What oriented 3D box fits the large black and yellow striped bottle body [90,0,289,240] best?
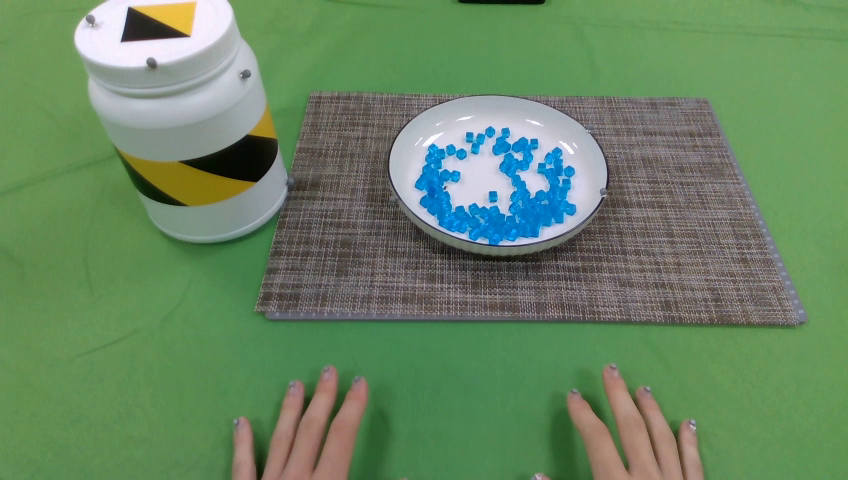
[{"bbox_3d":[-0.196,-0.104,0.519,0.131,0.185,0.129,0,51,0],"label":"large black and yellow striped bottle body"}]

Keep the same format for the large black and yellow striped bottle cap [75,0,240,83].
[{"bbox_3d":[-0.198,-0.158,0.455,0.115,0.019,0.114,1,50,-1],"label":"large black and yellow striped bottle cap"}]

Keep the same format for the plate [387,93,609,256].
[{"bbox_3d":[0.069,-0.062,0.578,0.208,0.039,0.205,1,50,0],"label":"plate"}]
